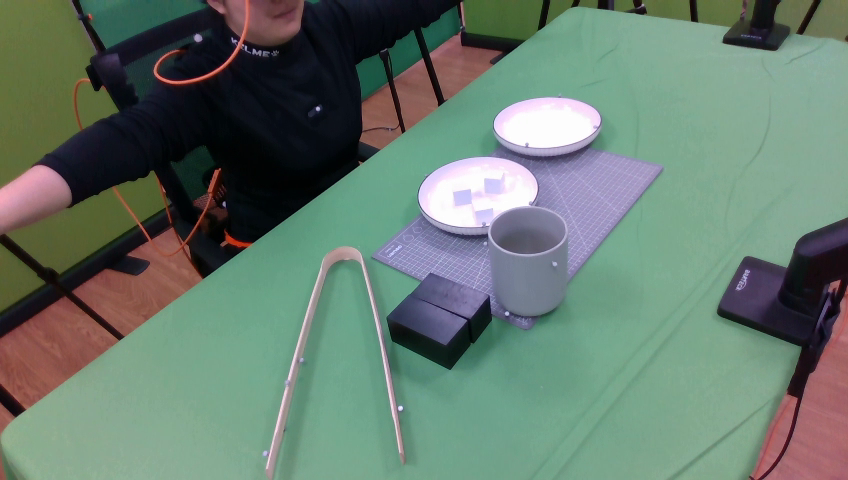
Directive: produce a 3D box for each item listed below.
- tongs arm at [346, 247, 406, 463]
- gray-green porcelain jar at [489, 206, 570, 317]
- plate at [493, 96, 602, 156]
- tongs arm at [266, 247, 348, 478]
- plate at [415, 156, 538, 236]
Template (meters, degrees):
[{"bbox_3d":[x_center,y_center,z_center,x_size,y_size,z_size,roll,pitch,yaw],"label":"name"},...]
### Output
[{"bbox_3d":[-0.069,0.133,0.832,0.028,0.028,0.384,-16,40,-3],"label":"tongs arm"},{"bbox_3d":[0.145,0.034,0.829,0.106,0.127,0.105,-5,40,5],"label":"gray-green porcelain jar"},{"bbox_3d":[0.238,-0.218,1.179,0.209,0.038,0.208,-4,39,4],"label":"plate"},{"bbox_3d":[-0.151,0.143,0.831,0.051,0.026,0.383,-5,39,5],"label":"tongs arm"},{"bbox_3d":[0.090,-0.072,1.034,0.207,0.039,0.206,-5,40,5],"label":"plate"}]
